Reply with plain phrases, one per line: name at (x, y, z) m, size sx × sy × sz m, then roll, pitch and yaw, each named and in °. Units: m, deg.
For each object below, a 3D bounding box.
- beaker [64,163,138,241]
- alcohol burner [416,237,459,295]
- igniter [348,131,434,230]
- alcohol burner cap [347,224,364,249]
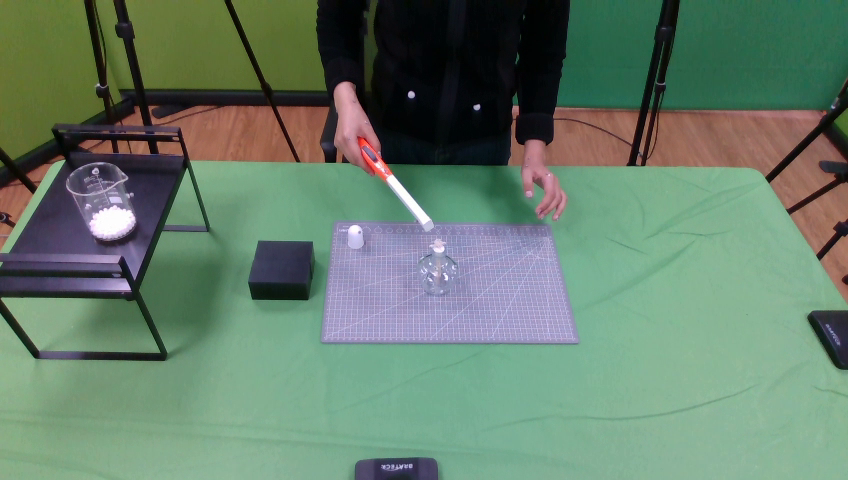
beaker at (-0.477, -0.055, 0.910) m, size 0.084 × 0.101 × 0.073 m, roll -9°, pitch 48°, yaw -13°
alcohol burner at (0.025, 0.042, 1.088) m, size 0.078 × 0.120 × 0.077 m, roll 1°, pitch 46°, yaw 0°
igniter at (-0.066, -0.116, 1.110) m, size 0.025 × 0.057 × 0.275 m, roll -35°, pitch 59°, yaw -8°
alcohol burner cap at (-0.134, -0.011, 1.177) m, size 0.034 × 0.048 × 0.033 m, roll 2°, pitch 46°, yaw -2°
